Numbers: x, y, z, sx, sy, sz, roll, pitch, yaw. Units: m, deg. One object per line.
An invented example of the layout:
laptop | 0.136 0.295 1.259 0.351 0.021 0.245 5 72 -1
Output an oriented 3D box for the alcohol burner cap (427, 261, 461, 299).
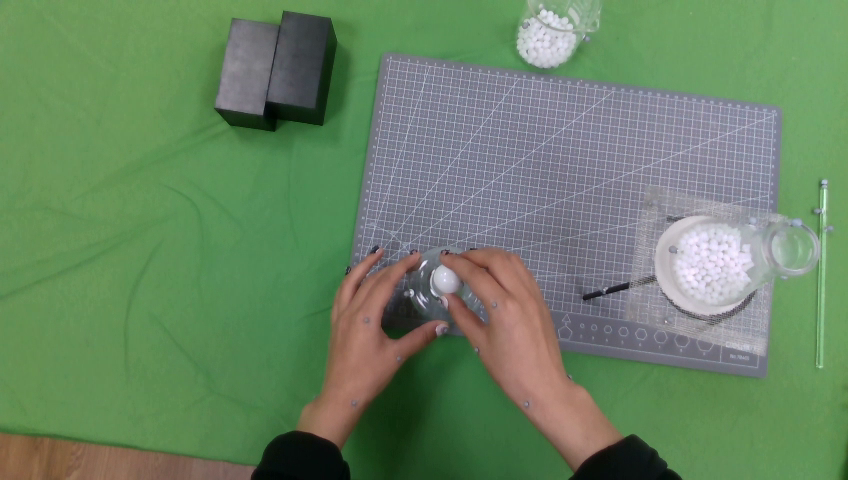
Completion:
alcohol burner cap | 0.020 0.034 0.552 0.034 0.048 0.033 1 77 -2

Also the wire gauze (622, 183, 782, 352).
wire gauze | 0.237 0.023 0.518 0.125 0.011 0.121 14 85 -1

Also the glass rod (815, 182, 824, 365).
glass rod | 0.425 0.034 0.651 0.008 0.008 0.199 6 82 0

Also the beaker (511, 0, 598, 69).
beaker | 0.134 -0.229 0.636 0.084 0.100 0.074 44 84 4

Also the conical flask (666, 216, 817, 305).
conical flask | 0.242 0.011 0.460 0.075 0.122 0.075 0 84 0

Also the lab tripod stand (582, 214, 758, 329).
lab tripod stand | 0.238 0.034 0.582 0.148 0.132 0.148 0 84 0

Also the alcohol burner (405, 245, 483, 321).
alcohol burner | 0.020 0.041 0.587 0.078 0.119 0.077 0 83 1
